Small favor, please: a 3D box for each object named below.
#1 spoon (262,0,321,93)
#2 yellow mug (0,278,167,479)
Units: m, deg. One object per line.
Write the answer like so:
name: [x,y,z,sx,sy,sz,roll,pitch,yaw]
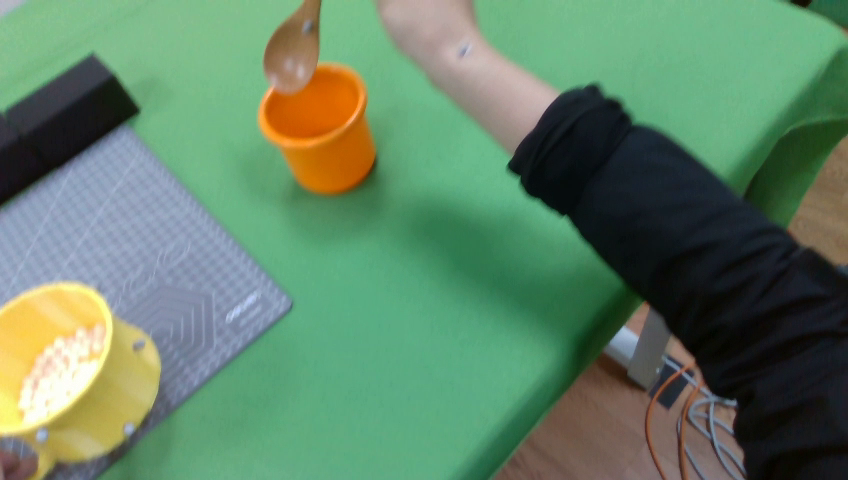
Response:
spoon: [-0.068,-0.182,0.417,0.042,0.194,0.021,35,40,-4]
yellow mug: [-0.240,0.097,0.398,0.099,0.064,0.130,9,60,14]
